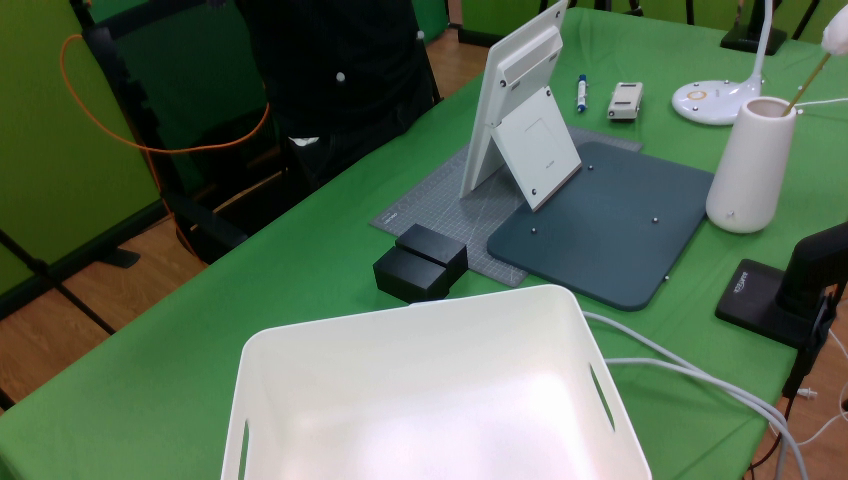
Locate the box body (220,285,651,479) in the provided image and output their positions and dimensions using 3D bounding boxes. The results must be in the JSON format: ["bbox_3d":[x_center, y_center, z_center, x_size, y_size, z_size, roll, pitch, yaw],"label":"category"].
[{"bbox_3d":[0.005,0.211,0.616,0.364,0.161,0.252,-9,40,-2],"label":"box body"}]

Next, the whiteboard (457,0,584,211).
[{"bbox_3d":[0.193,-0.191,0.983,0.143,0.306,0.218,36,55,21],"label":"whiteboard"}]

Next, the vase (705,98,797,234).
[{"bbox_3d":[0.480,-0.104,0.888,0.098,0.201,0.097,-4,42,4],"label":"vase"}]

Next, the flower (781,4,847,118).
[{"bbox_3d":[0.480,-0.157,0.823,0.044,0.362,0.038,-8,56,-9],"label":"flower"}]

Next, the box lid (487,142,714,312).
[{"bbox_3d":[0.298,-0.041,0.986,0.261,0.015,0.372,23,49,30],"label":"box lid"}]

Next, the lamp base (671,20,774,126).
[{"bbox_3d":[0.581,-0.332,1.154,0.179,0.181,0.160,2,41,7],"label":"lamp base"}]

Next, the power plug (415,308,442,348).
[{"bbox_3d":[0.004,0.121,0.786,0.035,0.053,0.072,1,46,9],"label":"power plug"}]

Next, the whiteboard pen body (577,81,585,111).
[{"bbox_3d":[0.335,-0.314,1.292,0.017,0.017,0.140,3,40,12],"label":"whiteboard pen body"}]

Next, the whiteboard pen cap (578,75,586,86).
[{"bbox_3d":[0.349,-0.351,1.334,0.018,0.018,0.033,3,40,12],"label":"whiteboard pen cap"}]

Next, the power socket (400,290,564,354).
[{"bbox_3d":[0.079,0.111,0.823,0.227,0.033,0.072,-6,41,1],"label":"power socket"}]

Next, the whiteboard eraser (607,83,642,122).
[{"bbox_3d":[0.406,-0.277,1.222,0.055,0.042,0.112,9,43,22],"label":"whiteboard eraser"}]
